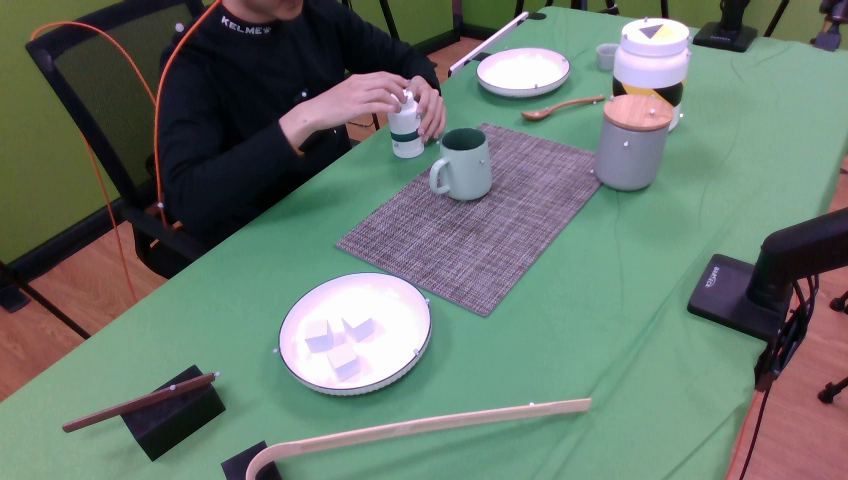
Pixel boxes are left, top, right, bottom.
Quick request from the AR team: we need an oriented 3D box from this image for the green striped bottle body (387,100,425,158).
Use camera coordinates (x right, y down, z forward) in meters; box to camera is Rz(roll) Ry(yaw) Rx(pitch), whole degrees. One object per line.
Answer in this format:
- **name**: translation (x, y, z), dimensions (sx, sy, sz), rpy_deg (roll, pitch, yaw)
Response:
- **green striped bottle body**: translation (-0.035, -0.223, 1.160), dimensions (0.063, 0.120, 0.063), rpy_deg (-5, 40, 4)

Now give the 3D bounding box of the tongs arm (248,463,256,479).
- **tongs arm**: translation (0.012, 0.262, 0.615), dimensions (0.385, 0.026, 0.050), rpy_deg (2, 42, -2)

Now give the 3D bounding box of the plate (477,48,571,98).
- **plate**: translation (0.223, -0.371, 1.357), dimensions (0.209, 0.038, 0.208), rpy_deg (-4, 41, 4)

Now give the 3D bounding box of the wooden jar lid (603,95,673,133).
- **wooden jar lid**: translation (0.343, -0.200, 0.973), dimensions (0.108, 0.021, 0.108), rpy_deg (-2, 39, 2)

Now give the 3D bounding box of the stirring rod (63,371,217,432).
- **stirring rod**: translation (-0.337, 0.192, 0.723), dimensions (0.177, 0.014, 0.005), rpy_deg (-18, 42, -12)

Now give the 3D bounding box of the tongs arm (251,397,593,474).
- **tongs arm**: translation (0.008, 0.212, 0.675), dimensions (0.389, 0.028, 0.028), rpy_deg (-5, 46, -11)

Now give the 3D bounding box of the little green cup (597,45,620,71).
- **little green cup**: translation (0.423, -0.413, 1.376), dimensions (0.061, 0.039, 0.061), rpy_deg (-4, 41, 4)

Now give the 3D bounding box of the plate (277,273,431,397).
- **plate**: translation (-0.091, 0.129, 0.821), dimensions (0.207, 0.039, 0.206), rpy_deg (-4, 40, 4)

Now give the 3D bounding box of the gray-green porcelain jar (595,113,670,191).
- **gray-green porcelain jar**: translation (0.346, -0.155, 1.017), dimensions (0.106, 0.127, 0.105), rpy_deg (-2, 44, 2)

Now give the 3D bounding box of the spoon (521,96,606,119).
- **spoon**: translation (0.291, -0.277, 1.249), dimensions (0.194, 0.022, 0.041), rpy_deg (-18, 23, -11)

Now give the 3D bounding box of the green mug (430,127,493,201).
- **green mug**: translation (0.059, -0.122, 1.034), dimensions (0.126, 0.105, 0.091), rpy_deg (-35, 48, -28)

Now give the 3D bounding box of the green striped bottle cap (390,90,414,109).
- **green striped bottle cap**: translation (-0.042, -0.262, 1.126), dimensions (0.044, 0.020, 0.044), rpy_deg (-5, 40, 5)

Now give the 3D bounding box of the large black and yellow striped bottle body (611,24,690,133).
- **large black and yellow striped bottle body**: translation (0.420, -0.299, 1.132), dimensions (0.131, 0.185, 0.130), rpy_deg (-5, 41, 4)

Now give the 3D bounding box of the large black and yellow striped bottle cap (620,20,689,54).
- **large black and yellow striped bottle cap**: translation (0.411, -0.363, 1.080), dimensions (0.115, 0.019, 0.114), rpy_deg (-4, 42, 4)
